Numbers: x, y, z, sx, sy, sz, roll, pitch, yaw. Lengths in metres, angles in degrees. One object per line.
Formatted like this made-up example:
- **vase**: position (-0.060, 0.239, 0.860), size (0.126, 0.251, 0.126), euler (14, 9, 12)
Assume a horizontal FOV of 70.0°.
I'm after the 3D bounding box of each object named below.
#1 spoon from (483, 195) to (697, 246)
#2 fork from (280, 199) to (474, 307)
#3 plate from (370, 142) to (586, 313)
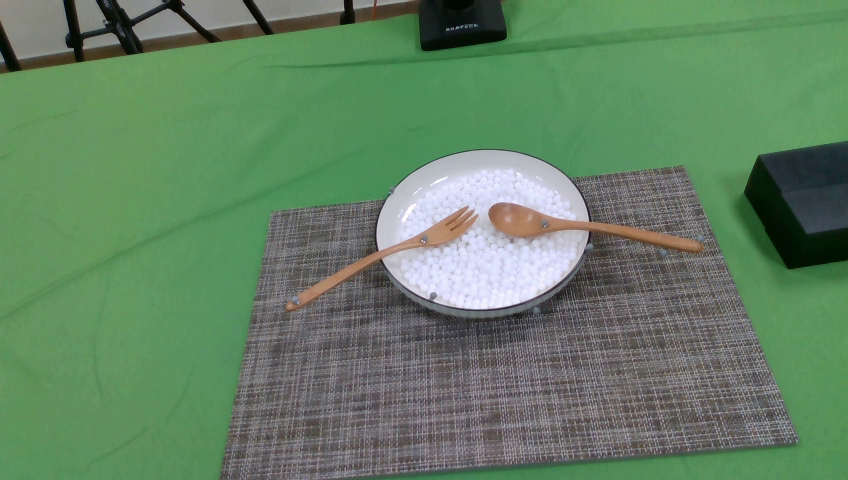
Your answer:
- **spoon**: position (0.147, -0.016, 0.558), size (0.192, 0.022, 0.041), euler (9, 49, 26)
- **fork**: position (-0.040, 0.011, 0.571), size (0.207, 0.019, 0.028), euler (-26, 53, -22)
- **plate**: position (0.051, -0.014, 0.594), size (0.209, 0.038, 0.207), euler (-5, 51, 6)
